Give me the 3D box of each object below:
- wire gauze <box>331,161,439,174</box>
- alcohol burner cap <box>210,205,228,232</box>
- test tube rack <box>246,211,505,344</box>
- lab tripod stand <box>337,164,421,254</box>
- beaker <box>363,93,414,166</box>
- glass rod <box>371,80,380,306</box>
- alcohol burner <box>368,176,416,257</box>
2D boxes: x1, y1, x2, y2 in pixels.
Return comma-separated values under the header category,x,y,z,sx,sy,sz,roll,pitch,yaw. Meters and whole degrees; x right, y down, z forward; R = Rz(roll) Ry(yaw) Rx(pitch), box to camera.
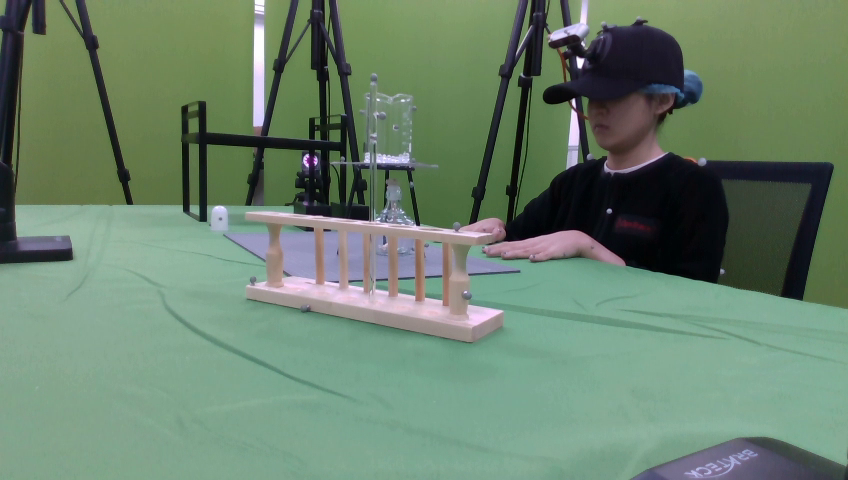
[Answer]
category,x,y,z,sx,sy,sz,roll,pitch,yaw
wire gauze,-0.054,-0.109,0.884,0.121,0.011,0.125,6,5,18
alcohol burner cap,-0.376,-0.040,1.107,0.034,0.048,0.034,2,7,0
test tube rack,-0.049,0.025,0.547,0.241,0.085,0.067,7,8,29
lab tripod stand,-0.061,-0.045,0.894,0.148,0.131,0.148,1,6,0
beaker,-0.052,-0.157,0.871,0.074,0.100,0.084,1,6,-10
glass rod,-0.042,-0.039,0.530,0.008,0.199,0.008,1,2,0
alcohol burner,-0.046,-0.035,0.896,0.078,0.119,0.078,3,5,0
